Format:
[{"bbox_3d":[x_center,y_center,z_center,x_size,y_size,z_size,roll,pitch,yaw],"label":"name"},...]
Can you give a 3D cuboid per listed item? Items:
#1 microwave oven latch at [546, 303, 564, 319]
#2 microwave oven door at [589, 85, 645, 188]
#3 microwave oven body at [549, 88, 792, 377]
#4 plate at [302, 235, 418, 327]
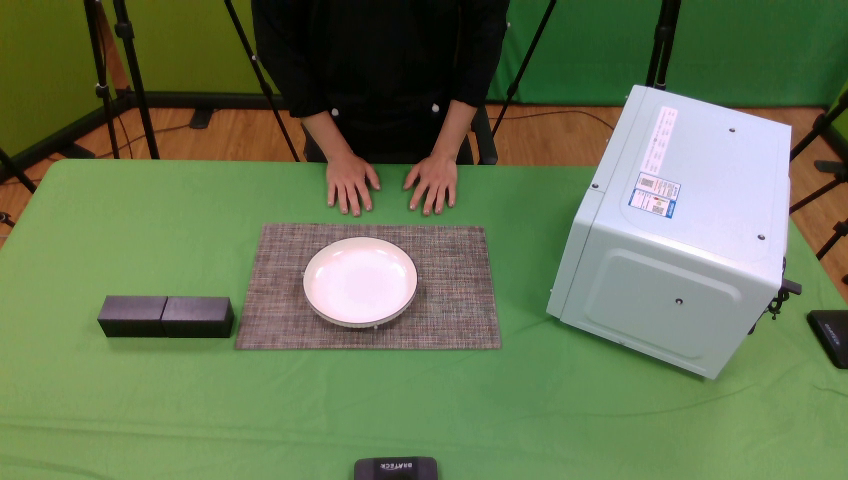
[{"bbox_3d":[0.242,0.102,1.081,0.030,0.029,0.079,21,48,17],"label":"microwave oven latch"},{"bbox_3d":[0.342,-0.107,1.149,0.039,0.245,0.354,20,48,15],"label":"microwave oven door"},{"bbox_3d":[0.456,-0.028,1.088,0.325,0.261,0.440,20,47,16],"label":"microwave oven body"},{"bbox_3d":[-0.114,0.077,1.098,0.208,0.039,0.206,2,46,-2],"label":"plate"}]
